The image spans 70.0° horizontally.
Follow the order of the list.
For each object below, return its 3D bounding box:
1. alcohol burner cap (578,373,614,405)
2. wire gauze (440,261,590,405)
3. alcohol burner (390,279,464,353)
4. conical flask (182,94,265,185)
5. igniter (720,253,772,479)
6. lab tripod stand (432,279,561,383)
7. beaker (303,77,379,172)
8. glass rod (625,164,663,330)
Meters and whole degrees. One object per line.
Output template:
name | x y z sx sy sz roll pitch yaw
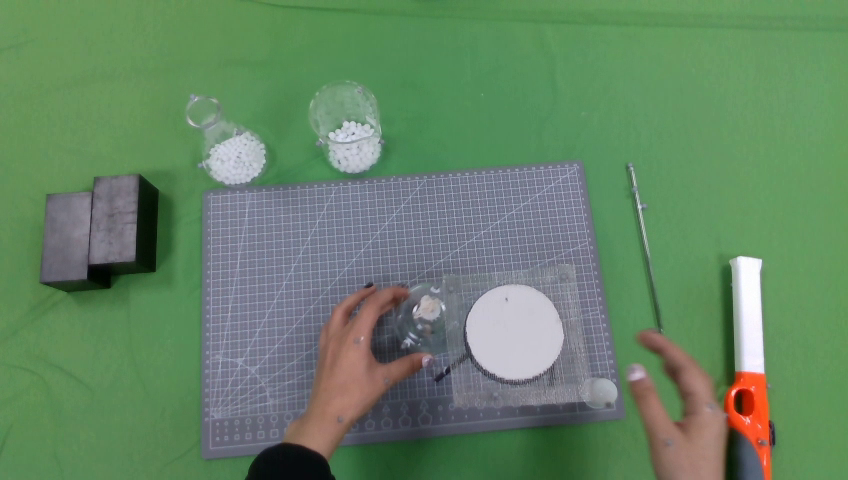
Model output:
alcohol burner cap | 0.184 0.156 0.638 0.034 0.048 0.033 0 75 0
wire gauze | 0.080 0.082 0.539 0.125 0.011 0.121 -4 76 0
alcohol burner | 0.003 0.075 0.620 0.078 0.119 0.077 0 76 0
conical flask | -0.225 -0.114 0.666 0.075 0.122 0.075 0 75 -1
igniter | 0.345 0.150 0.652 0.057 0.025 0.275 9 75 -9
lab tripod stand | 0.075 0.101 0.604 0.148 0.132 0.147 0 77 0
beaker | -0.086 -0.123 0.682 0.084 0.100 0.074 30 77 7
glass rod | 0.253 0.004 0.698 0.008 0.008 0.198 -6 75 -2
